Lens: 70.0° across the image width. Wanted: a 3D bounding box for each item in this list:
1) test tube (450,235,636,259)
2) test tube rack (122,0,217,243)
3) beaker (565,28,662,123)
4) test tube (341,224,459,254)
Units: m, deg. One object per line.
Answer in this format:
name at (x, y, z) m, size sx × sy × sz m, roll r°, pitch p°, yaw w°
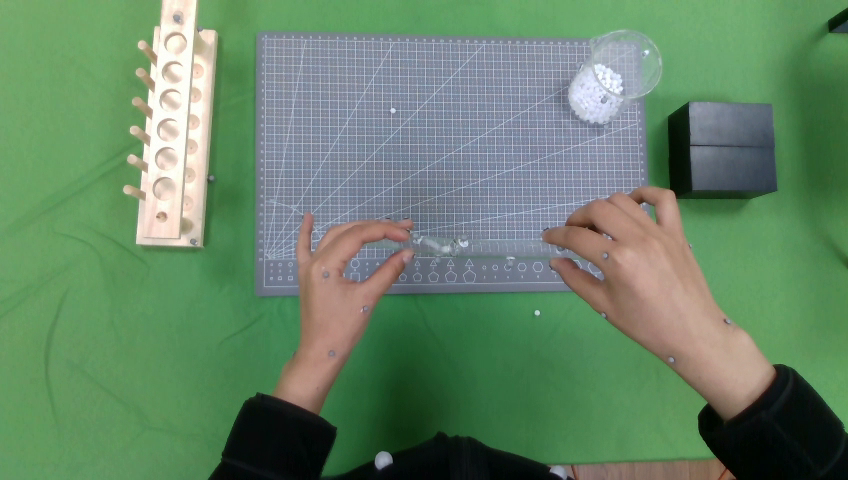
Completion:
test tube at (0.096, 0.006, 0.489) m, size 0.150 × 0.017 × 0.017 m, roll 1°, pitch 84°, yaw -2°
test tube rack at (-0.267, -0.123, 0.628) m, size 0.067 × 0.085 × 0.241 m, roll 3°, pitch 84°, yaw -5°
beaker at (0.200, -0.178, 0.667) m, size 0.084 × 0.100 × 0.074 m, roll 37°, pitch 82°, yaw 1°
test tube at (-0.027, -0.002, 0.542) m, size 0.017 × 0.149 × 0.017 m, roll -7°, pitch 100°, yaw -43°
